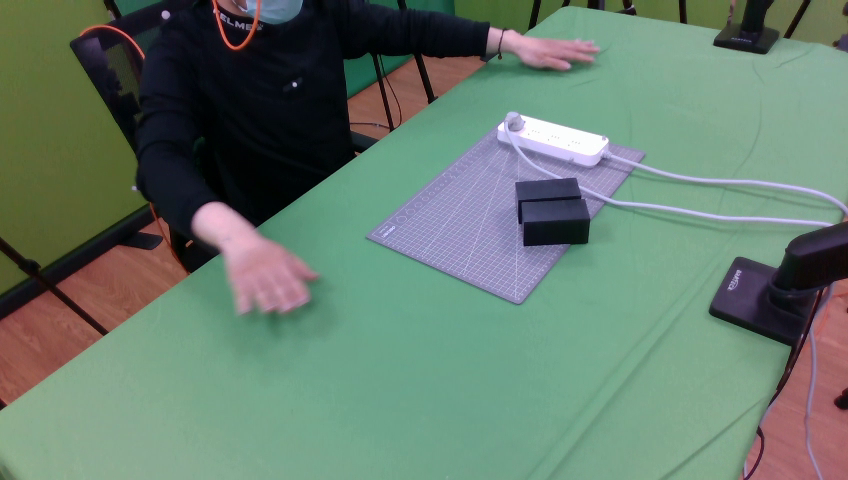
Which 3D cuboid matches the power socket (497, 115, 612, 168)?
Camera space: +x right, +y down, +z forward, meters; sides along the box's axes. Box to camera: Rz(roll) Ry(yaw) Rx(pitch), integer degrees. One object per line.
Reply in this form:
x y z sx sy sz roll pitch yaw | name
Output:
0.240 -0.191 1.143 0.225 0.033 0.072 23 50 31 | power socket

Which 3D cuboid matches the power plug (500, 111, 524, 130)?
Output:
0.160 -0.217 1.149 0.073 0.053 0.035 -33 47 -26 | power plug
